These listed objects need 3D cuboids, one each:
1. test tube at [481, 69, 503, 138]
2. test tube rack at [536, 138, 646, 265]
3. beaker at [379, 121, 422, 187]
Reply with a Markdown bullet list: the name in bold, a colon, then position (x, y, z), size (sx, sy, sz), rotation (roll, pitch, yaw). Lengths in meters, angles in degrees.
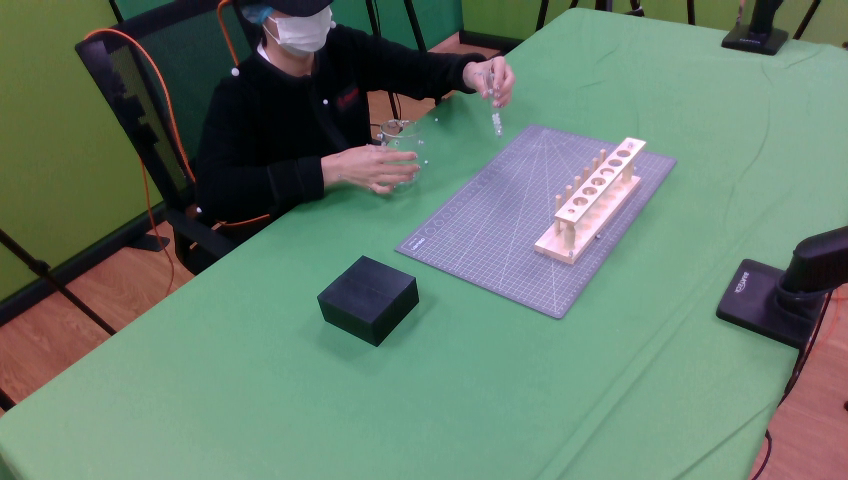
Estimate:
- **test tube**: position (0.120, -0.232, 1.046), size (0.017, 0.151, 0.017), rotation (-8, 53, 12)
- **test tube rack**: position (0.268, -0.071, 0.964), size (0.066, 0.085, 0.243), rotation (23, 49, 32)
- **beaker**: position (-0.042, -0.155, 1.088), size (0.074, 0.100, 0.083), rotation (0, 34, -3)
